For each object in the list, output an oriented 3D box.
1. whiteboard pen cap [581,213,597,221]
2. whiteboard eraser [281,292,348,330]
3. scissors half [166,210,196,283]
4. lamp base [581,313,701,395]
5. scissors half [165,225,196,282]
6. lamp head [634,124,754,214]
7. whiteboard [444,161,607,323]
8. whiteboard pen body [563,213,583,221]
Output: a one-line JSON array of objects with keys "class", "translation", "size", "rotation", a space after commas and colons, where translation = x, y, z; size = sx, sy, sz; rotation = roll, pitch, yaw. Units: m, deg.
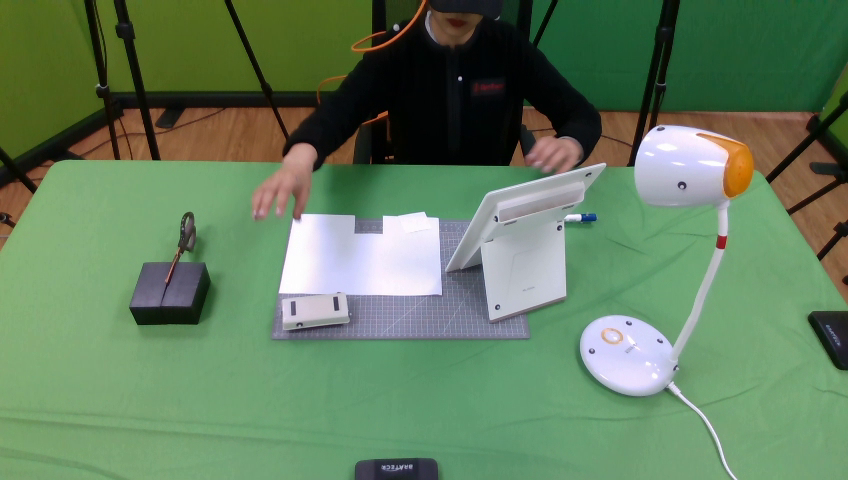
[{"class": "whiteboard pen cap", "translation": [0.342, -0.048, 1.260], "size": [0.033, 0.018, 0.018], "rotation": [-3, 46, -3]}, {"class": "whiteboard eraser", "translation": [-0.189, 0.124, 1.045], "size": [0.113, 0.042, 0.055], "rotation": [-6, 46, -10]}, {"class": "scissors half", "translation": [-0.440, 0.010, 1.094], "size": [0.013, 0.040, 0.174], "rotation": [9, 48, -10]}, {"class": "lamp base", "translation": [0.361, 0.144, 0.973], "size": [0.178, 0.181, 0.160], "rotation": [34, 53, 23]}, {"class": "scissors half", "translation": [-0.444, 0.025, 1.107], "size": [0.013, 0.040, 0.174], "rotation": [5, 30, -6]}, {"class": "lamp head", "translation": [0.351, -0.089, 0.775], "size": [0.112, 0.113, 0.122], "rotation": [-30, 30, -28]}, {"class": "whiteboard", "translation": [0.186, 0.025, 1.029], "size": [0.217, 0.306, 0.143], "rotation": [-14, 68, -18]}, {"class": "whiteboard pen body", "translation": [0.283, -0.047, 1.257], "size": [0.141, 0.017, 0.017], "rotation": [-1, 46, -2]}]
